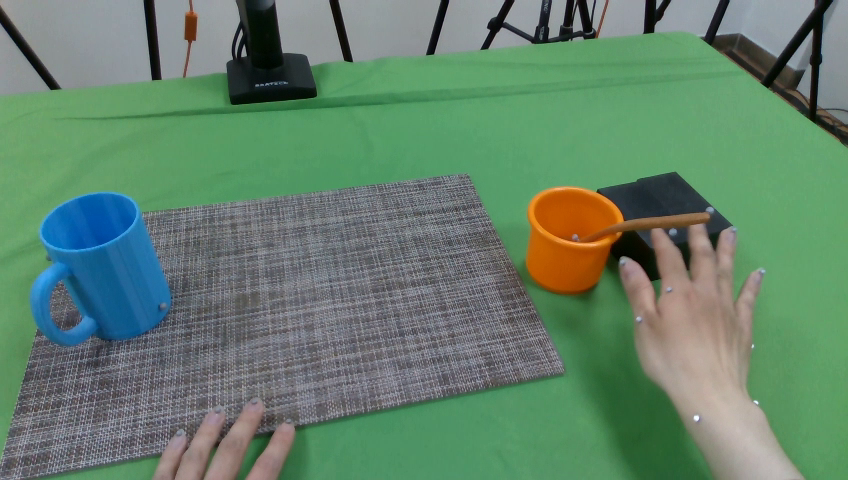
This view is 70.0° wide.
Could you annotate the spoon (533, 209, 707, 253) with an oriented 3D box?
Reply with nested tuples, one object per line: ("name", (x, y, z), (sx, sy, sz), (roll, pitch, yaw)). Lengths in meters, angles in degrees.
("spoon", (0.171, -0.009, 0.561), (0.041, 0.193, 0.021), (-28, 95, -31))

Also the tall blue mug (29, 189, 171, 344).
("tall blue mug", (-0.272, 0.031, 0.517), (0.078, 0.109, 0.106), (-2, 43, -6))
